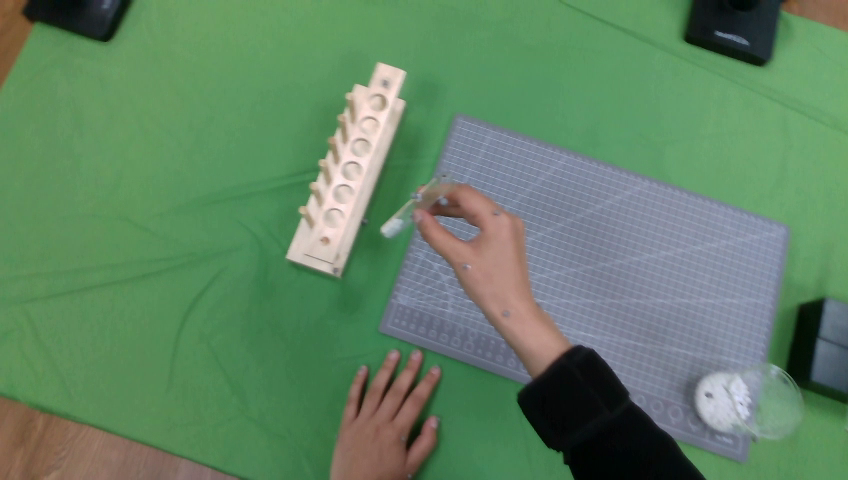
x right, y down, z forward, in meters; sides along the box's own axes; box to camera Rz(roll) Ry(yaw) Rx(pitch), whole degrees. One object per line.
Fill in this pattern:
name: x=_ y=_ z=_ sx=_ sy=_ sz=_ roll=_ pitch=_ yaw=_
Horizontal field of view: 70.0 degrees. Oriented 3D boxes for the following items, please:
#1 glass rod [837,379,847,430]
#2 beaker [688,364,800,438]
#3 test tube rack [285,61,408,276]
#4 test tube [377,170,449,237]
glass rod: x=0.494 y=0.120 z=0.690 sx=0.008 sy=0.008 sz=0.199 roll=22 pitch=76 yaw=2
beaker: x=0.343 y=0.175 z=0.667 sx=0.084 sy=0.100 sz=0.073 roll=21 pitch=75 yaw=3
test tube rack: x=-0.091 y=-0.088 z=0.712 sx=0.067 sy=0.085 sz=0.241 roll=20 pitch=76 yaw=1
test tube: x=-0.014 y=-0.029 z=0.544 sx=0.017 sy=0.150 sz=0.017 roll=6 pitch=72 yaw=-21
